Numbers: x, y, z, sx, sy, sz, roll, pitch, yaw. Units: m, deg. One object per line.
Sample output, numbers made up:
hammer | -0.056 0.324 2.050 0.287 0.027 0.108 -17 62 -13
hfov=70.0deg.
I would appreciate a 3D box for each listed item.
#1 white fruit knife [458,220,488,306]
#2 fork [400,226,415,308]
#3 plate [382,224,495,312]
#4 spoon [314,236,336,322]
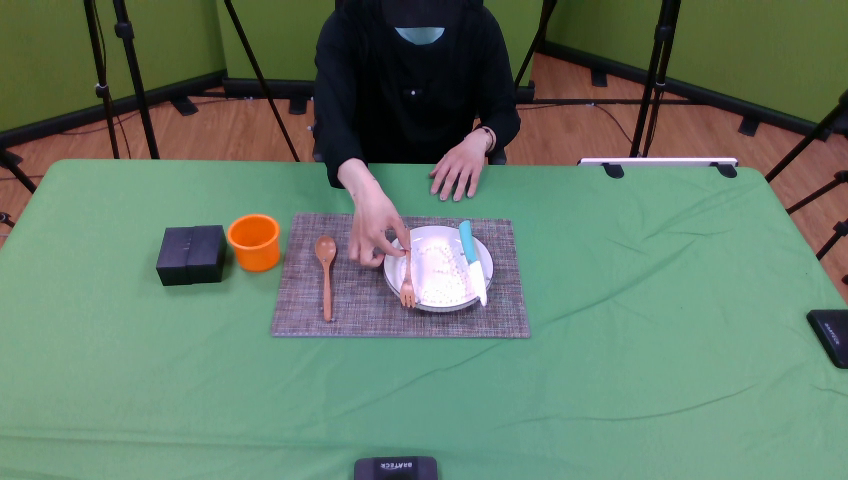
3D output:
white fruit knife | 0.091 0.039 1.117 0.027 0.016 0.206 -3 47 -10
fork | -0.029 0.044 1.100 0.028 0.019 0.206 9 46 -10
plate | 0.026 0.055 1.128 0.209 0.038 0.208 2 46 -2
spoon | -0.180 0.068 1.111 0.042 0.022 0.192 9 43 -20
